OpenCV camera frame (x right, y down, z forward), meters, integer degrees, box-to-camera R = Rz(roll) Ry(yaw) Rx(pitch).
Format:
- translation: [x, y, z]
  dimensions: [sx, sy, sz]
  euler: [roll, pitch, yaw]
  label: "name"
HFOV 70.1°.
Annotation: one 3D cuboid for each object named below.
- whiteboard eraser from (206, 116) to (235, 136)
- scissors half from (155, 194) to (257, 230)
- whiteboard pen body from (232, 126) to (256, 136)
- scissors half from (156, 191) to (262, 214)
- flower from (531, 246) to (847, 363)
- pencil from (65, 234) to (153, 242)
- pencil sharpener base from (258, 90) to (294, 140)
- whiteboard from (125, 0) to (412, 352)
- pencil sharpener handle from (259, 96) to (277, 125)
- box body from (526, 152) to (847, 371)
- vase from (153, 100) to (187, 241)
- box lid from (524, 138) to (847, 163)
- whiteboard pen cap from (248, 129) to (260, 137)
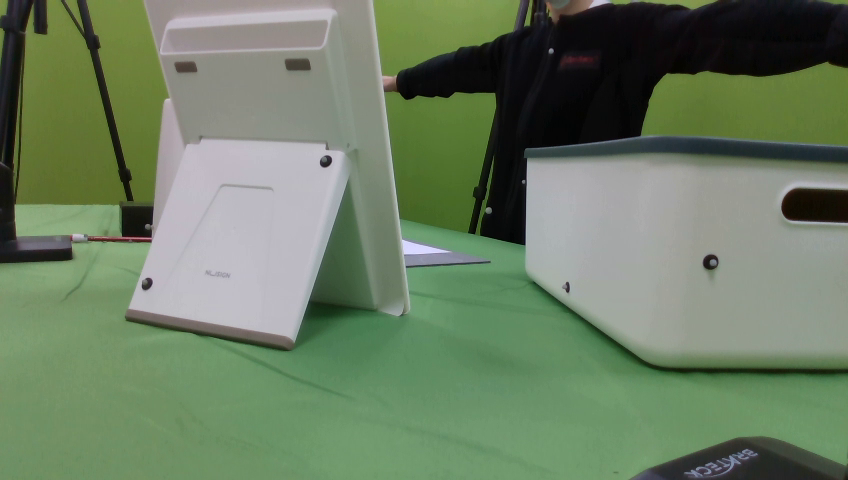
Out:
- translation: [-0.449, -0.251, 1.335]
  dimensions: [0.056, 0.042, 0.112]
  euler: [1, 7, -22]
  label: "whiteboard eraser"
- translation: [-0.378, -0.051, 1.058]
  dimensions: [0.176, 0.040, 0.012]
  euler: [20, 22, -31]
  label: "scissors half"
- translation: [-0.407, -0.247, 1.372]
  dimensions: [0.017, 0.017, 0.140]
  euler: [-3, 13, -35]
  label: "whiteboard pen body"
- translation: [-0.371, -0.069, 1.051]
  dimensions: [0.176, 0.040, 0.013]
  euler: [2, 25, -24]
  label: "scissors half"
- translation: [0.251, 0.063, 0.602]
  dimensions: [0.359, 0.038, 0.044]
  euler: [20, -13, 49]
  label: "flower"
- translation: [-0.429, -0.001, 0.911]
  dimensions: [0.195, 0.012, 0.012]
  euler: [1, 8, -19]
  label: "pencil"
- translation: [-0.341, -0.285, 1.388]
  dimensions: [0.062, 0.107, 0.076]
  euler: [-3, 9, -36]
  label: "pencil sharpener base"
- translation: [-0.151, -0.049, 0.472]
  dimensions: [0.216, 0.305, 0.144]
  euler: [6, 27, 24]
  label: "whiteboard"
- translation: [-0.373, -0.304, 1.425]
  dimensions: [0.036, 0.067, 0.030]
  euler: [13, -1, -37]
  label: "pencil sharpener handle"
- translation: [0.259, -0.004, 0.584]
  dimensions: [0.255, 0.160, 0.363]
  euler: [2, 7, -6]
  label: "box body"
- translation: [-0.278, -0.066, 0.736]
  dimensions: [0.098, 0.200, 0.098]
  euler: [2, 9, 0]
  label: "vase"
- translation: [0.262, -0.076, 0.573]
  dimensions: [0.264, 0.015, 0.371]
  euler: [2, 7, -6]
  label: "box lid"
- translation: [-0.373, -0.235, 1.326]
  dimensions: [0.018, 0.018, 0.033]
  euler: [-3, 12, -35]
  label: "whiteboard pen cap"
